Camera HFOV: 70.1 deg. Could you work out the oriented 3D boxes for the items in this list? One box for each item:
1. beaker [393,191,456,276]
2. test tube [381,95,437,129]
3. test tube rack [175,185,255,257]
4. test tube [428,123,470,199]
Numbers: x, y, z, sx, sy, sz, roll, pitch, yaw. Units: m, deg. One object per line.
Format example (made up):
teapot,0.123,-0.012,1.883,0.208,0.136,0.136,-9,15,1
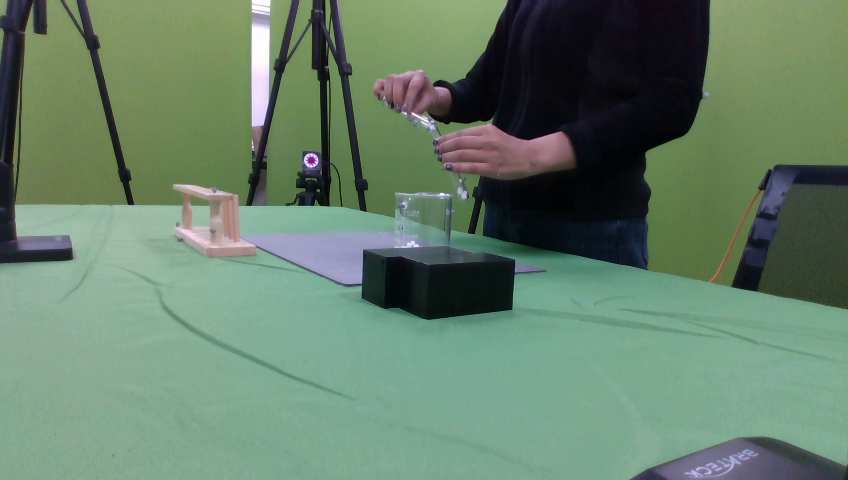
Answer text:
beaker,-0.003,-0.010,0.749,0.074,0.100,0.083,-3,8,-40
test tube,-0.027,-0.211,0.989,0.017,0.017,0.149,-4,28,-38
test tube rack,-0.324,-0.035,0.922,0.067,0.085,0.241,-2,9,-31
test tube,0.036,-0.119,0.902,0.017,0.150,0.017,-16,-31,-10
